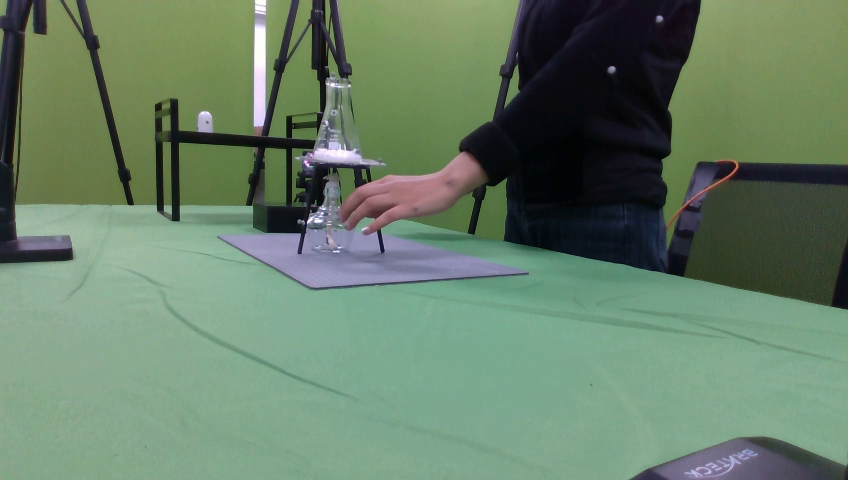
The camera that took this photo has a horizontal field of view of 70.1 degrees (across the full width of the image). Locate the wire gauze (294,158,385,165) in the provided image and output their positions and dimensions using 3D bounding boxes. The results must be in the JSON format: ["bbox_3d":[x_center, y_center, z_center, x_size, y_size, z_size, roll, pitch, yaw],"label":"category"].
[{"bbox_3d":[-0.128,-0.117,0.901,0.125,0.011,0.121,-2,8,-14],"label":"wire gauze"}]

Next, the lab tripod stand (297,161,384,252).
[{"bbox_3d":[-0.131,-0.051,0.903,0.148,0.131,0.148,3,9,0],"label":"lab tripod stand"}]

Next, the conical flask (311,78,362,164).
[{"bbox_3d":[-0.128,-0.174,0.890,0.075,0.122,0.075,3,8,0],"label":"conical flask"}]

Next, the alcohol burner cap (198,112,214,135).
[{"bbox_3d":[-0.459,-0.246,1.271,0.034,0.048,0.034,2,7,0],"label":"alcohol burner cap"}]

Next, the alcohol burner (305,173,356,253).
[{"bbox_3d":[-0.139,-0.041,0.898,0.078,0.119,0.078,4,8,0],"label":"alcohol burner"}]
